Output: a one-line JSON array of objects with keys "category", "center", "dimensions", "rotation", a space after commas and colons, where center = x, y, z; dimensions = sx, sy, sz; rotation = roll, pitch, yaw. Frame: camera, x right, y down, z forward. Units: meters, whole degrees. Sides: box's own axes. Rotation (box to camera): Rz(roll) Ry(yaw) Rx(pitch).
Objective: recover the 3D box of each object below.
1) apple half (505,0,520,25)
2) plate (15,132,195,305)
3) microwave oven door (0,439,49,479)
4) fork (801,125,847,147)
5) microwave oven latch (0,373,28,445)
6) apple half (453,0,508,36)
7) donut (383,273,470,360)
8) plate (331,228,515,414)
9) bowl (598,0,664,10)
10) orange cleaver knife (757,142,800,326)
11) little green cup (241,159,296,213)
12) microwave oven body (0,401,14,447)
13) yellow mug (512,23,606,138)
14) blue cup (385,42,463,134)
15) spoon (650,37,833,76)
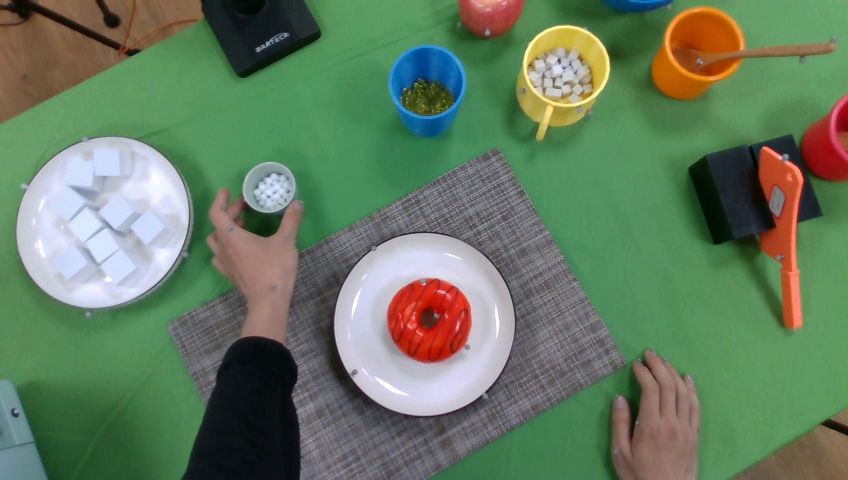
[{"category": "apple half", "center": [0.099, -0.303, 0.738], "dimensions": [0.033, 0.081, 0.081], "rotation": [-23, 81, 0]}, {"category": "plate", "center": [-0.373, -0.024, 0.724], "dimensions": [0.208, 0.039, 0.207], "rotation": [0, 81, 1]}, {"category": "microwave oven door", "center": [-0.380, 0.367, 0.542], "dimensions": [0.039, 0.244, 0.354], "rotation": [-26, 81, -3]}, {"category": "fork", "center": [0.532, -0.112, 0.665], "dimensions": [0.205, 0.019, 0.028], "rotation": [13, 67, 46]}, {"category": "microwave oven latch", "center": [-0.472, 0.188, 0.674], "dimensions": [0.030, 0.029, 0.079], "rotation": [-22, 82, -3]}, {"category": "apple half", "center": [0.063, -0.287, 0.738], "dimensions": [0.053, 0.075, 0.080], "rotation": [-23, 84, 0]}, {"category": "donut", "center": [0.003, 0.086, 0.684], "dimensions": [0.099, 0.048, 0.098], "rotation": [0, 82, 2]}, {"category": "plate", "center": [-0.001, 0.091, 0.695], "dimensions": [0.209, 0.038, 0.208], "rotation": [0, 82, 1]}, {"category": "bowl", "center": [0.250, -0.341, 0.740], "dimensions": [0.151, 0.077, 0.151], "rotation": [0, 82, 1]}, {"category": "orange cleaver knife", "center": [0.398, -0.005, 0.684], "dimensions": [0.012, 0.076, 0.212], "rotation": [-14, 111, 1]}, {"category": "little green cup", "center": [-0.183, -0.062, 0.724], "dimensions": [0.061, 0.039, 0.061], "rotation": [0, 78, 2]}, {"category": "microwave oven body", "center": [-0.529, 0.393, 0.546], "dimensions": [0.326, 0.261, 0.440], "rotation": [-26, 82, -3]}, {"category": "yellow mug", "center": [0.154, -0.184, 0.723], "dimensions": [0.100, 0.064, 0.130], "rotation": [19, 83, 4]}, {"category": "blue cup", "center": [0.000, -0.168, 0.706], "dimensions": [0.092, 0.100, 0.092], "rotation": [0, 82, 0]}, {"category": "spoon", "center": [0.348, -0.211, 0.683], "dimensions": [0.022, 0.192, 0.041], "rotation": [26, 79, -39]}]
